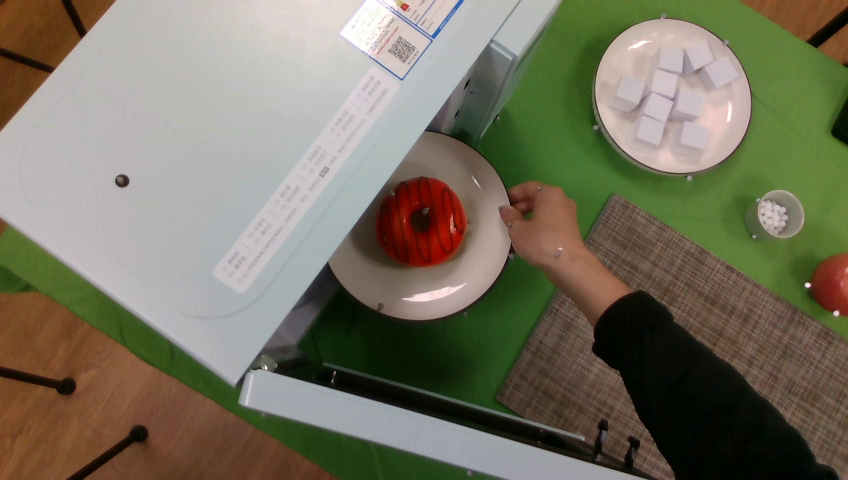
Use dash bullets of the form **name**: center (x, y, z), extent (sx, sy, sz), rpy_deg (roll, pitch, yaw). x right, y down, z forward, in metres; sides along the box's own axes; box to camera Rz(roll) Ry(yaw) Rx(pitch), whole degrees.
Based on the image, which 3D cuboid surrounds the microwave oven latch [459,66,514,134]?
- **microwave oven latch**: center (0.076, -0.170, 0.739), extent (0.030, 0.029, 0.079), rpy_deg (38, 82, 1)

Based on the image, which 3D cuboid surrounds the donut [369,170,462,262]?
- **donut**: center (-0.009, -0.025, 0.643), extent (0.099, 0.048, 0.099), rpy_deg (0, 89, 0)

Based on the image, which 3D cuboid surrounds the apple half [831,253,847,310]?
- **apple half**: center (0.543, 0.051, 0.750), extent (0.033, 0.081, 0.081), rpy_deg (6, 81, 1)

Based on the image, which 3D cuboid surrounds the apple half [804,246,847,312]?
- **apple half**: center (0.504, 0.047, 0.749), extent (0.053, 0.075, 0.080), rpy_deg (6, 85, 1)

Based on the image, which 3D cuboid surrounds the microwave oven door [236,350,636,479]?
- **microwave oven door**: center (0.019, 0.175, 0.586), extent (0.356, 0.244, 0.039), rpy_deg (16, 80, -2)

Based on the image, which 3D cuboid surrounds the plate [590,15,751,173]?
- **plate**: center (0.313, -0.184, 0.781), extent (0.208, 0.039, 0.207), rpy_deg (1, 82, -5)

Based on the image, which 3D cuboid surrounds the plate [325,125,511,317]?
- **plate**: center (-0.012, -0.021, 0.654), extent (0.209, 0.038, 0.208), rpy_deg (0, 83, -3)

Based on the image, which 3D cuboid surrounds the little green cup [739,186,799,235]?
- **little green cup**: center (0.436, -0.035, 0.771), extent (0.061, 0.039, 0.061), rpy_deg (1, 81, -4)

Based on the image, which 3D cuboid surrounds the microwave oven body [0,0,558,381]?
- **microwave oven body**: center (-0.140, -0.127, 0.618), extent (0.326, 0.260, 0.441), rpy_deg (35, 82, 0)
